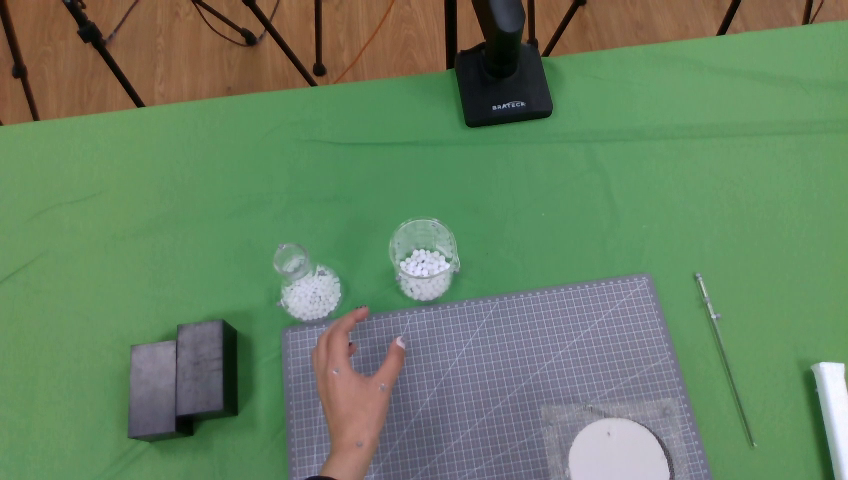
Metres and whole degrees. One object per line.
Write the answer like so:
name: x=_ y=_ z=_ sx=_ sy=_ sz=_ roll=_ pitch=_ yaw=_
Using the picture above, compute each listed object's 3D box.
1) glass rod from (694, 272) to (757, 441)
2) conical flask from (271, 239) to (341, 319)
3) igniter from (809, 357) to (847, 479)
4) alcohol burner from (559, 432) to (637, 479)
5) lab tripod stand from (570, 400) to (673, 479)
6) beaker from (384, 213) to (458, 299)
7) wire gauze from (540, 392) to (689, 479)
glass rod: x=0.346 y=0.129 z=0.698 sx=0.008 sy=0.008 sz=0.198 roll=-9 pitch=68 yaw=-3
conical flask: x=-0.138 y=0.039 z=0.683 sx=0.075 sy=0.122 sz=0.075 roll=0 pitch=68 yaw=1
igniter: x=0.447 y=0.261 z=0.634 sx=0.057 sy=0.025 sz=0.274 roll=6 pitch=68 yaw=-8
alcohol burner: x=0.176 y=0.230 z=0.602 sx=0.078 sy=0.120 sz=0.077 roll=-1 pitch=68 yaw=3
lab tripod stand: x=0.174 y=0.225 z=0.593 sx=0.148 sy=0.132 sz=0.147 roll=0 pitch=70 yaw=1
beaker: x=0.000 y=0.024 z=0.699 sx=0.083 sy=0.101 sz=0.073 roll=26 pitch=71 yaw=10
wire gauze: x=0.170 y=0.198 z=0.531 sx=0.125 sy=0.011 sz=0.120 roll=-3 pitch=70 yaw=1
